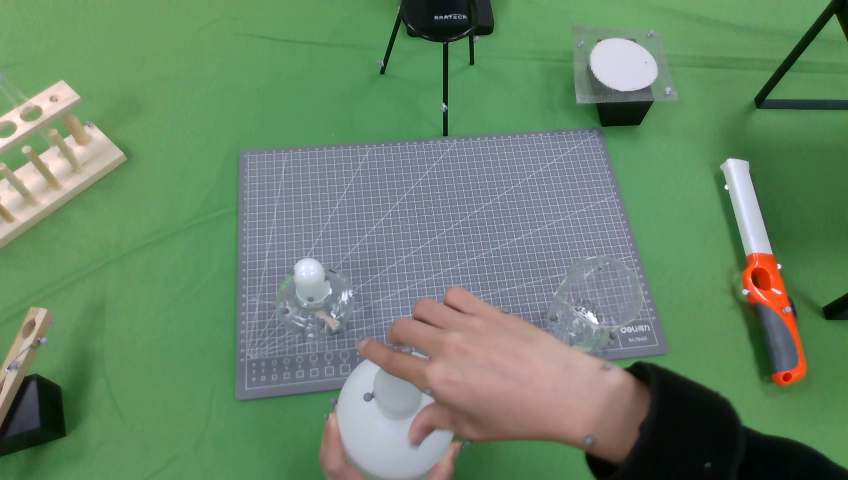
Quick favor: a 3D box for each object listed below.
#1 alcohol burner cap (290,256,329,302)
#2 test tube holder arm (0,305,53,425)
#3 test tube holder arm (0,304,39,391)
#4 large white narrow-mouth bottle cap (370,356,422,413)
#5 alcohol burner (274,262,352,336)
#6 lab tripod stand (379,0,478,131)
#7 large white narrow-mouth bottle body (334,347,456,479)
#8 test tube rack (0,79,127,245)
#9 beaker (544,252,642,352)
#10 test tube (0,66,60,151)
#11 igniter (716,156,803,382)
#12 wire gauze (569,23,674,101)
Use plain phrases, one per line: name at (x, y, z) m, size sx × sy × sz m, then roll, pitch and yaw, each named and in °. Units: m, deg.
alcohol burner cap at (-0.107, 0.034, 0.560) m, size 0.034 × 0.048 × 0.033 m, roll 0°, pitch 59°, yaw 0°
test tube holder arm at (-0.372, 0.142, 0.533) m, size 0.013 × 0.015 × 0.177 m, roll 7°, pitch 64°, yaw 6°
test tube holder arm at (-0.371, 0.101, 0.553) m, size 0.010 × 0.015 × 0.087 m, roll 6°, pitch 64°, yaw 6°
large white narrow-mouth bottle cap at (-0.020, 0.101, 0.425) m, size 0.038 × 0.024 × 0.037 m, roll 2°, pitch 63°, yaw -3°
alcohol burner at (-0.109, 0.050, 0.592) m, size 0.078 × 0.120 × 0.077 m, roll 3°, pitch 62°, yaw -5°
lab tripod stand at (0.015, -0.228, 0.729) m, size 0.148 × 0.132 × 0.147 m, roll 2°, pitch 64°, yaw -5°
large white narrow-mouth bottle body at (-0.025, 0.146, 0.509) m, size 0.102 × 0.196 × 0.101 m, roll 1°, pitch 63°, yaw -3°
test tube rack at (-0.453, -0.059, 0.640) m, size 0.066 × 0.086 × 0.242 m, roll 41°, pitch 68°, yaw 15°
beaker at (0.162, 0.067, 0.610) m, size 0.084 × 0.101 × 0.073 m, roll -3°, pitch 63°, yaw -4°
test tube at (-0.416, -0.141, 0.628) m, size 0.017 × 0.151 × 0.017 m, roll 0°, pitch 62°, yaw 0°
igniter at (0.379, 0.024, 0.690) m, size 0.057 × 0.025 × 0.274 m, roll 6°, pitch 63°, yaw -13°
wire gauze at (0.243, -0.222, 0.758) m, size 0.121 × 0.011 × 0.124 m, roll 2°, pitch 63°, yaw -3°
